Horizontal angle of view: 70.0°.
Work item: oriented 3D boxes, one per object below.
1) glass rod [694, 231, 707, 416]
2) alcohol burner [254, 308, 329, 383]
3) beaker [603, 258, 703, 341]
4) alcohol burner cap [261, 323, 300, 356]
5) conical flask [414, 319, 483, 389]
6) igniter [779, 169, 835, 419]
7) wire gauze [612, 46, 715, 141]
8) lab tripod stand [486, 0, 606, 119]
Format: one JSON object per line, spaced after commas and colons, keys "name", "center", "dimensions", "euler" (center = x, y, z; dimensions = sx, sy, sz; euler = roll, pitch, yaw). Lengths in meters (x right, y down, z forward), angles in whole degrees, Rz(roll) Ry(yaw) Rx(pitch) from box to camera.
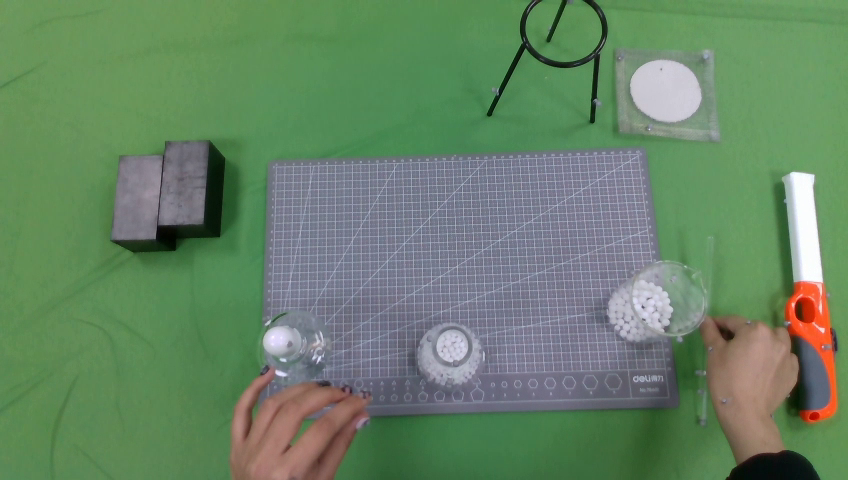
{"name": "glass rod", "center": [0.299, 0.089, 0.655], "dimensions": [0.008, 0.008, 0.199], "euler": [5, 84, 2]}
{"name": "alcohol burner", "center": [-0.138, 0.104, 0.615], "dimensions": [0.078, 0.120, 0.077], "euler": [-1, 74, 3]}
{"name": "beaker", "center": [0.234, 0.064, 0.627], "dimensions": [0.084, 0.101, 0.073], "euler": [-38, 78, -9]}
{"name": "alcohol burner cap", "center": [-0.139, 0.094, 0.580], "dimensions": [0.034, 0.048, 0.033], "euler": [1, 79, -2]}
{"name": "conical flask", "center": [0.025, 0.110, 0.607], "dimensions": [0.075, 0.122, 0.075], "euler": [0, 75, 1]}
{"name": "igniter", "center": [0.419, 0.055, 0.666], "dimensions": [0.057, 0.025, 0.275], "euler": [6, 76, -8]}
{"name": "wire gauze", "center": [0.292, -0.183, 0.739], "dimensions": [0.125, 0.011, 0.121], "euler": [4, 76, 0]}
{"name": "lab tripod stand", "center": [0.140, -0.201, 0.682], "dimensions": [0.148, 0.132, 0.147], "euler": [0, 77, 1]}
